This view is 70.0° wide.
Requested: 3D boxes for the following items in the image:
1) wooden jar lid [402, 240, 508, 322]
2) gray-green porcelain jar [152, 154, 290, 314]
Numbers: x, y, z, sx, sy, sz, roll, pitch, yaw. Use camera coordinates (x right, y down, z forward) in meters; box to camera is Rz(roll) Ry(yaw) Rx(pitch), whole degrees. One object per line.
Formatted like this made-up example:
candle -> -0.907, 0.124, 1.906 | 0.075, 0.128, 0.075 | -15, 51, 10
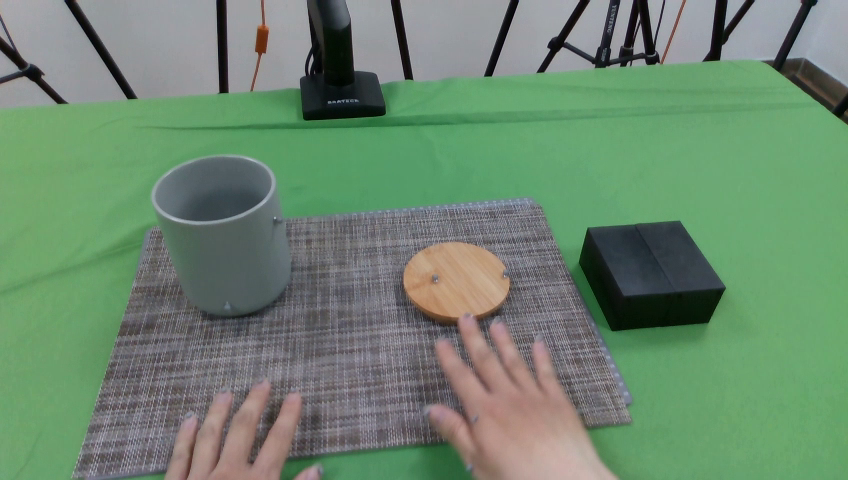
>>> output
wooden jar lid -> 0.031, 0.042, 0.616 | 0.108, 0.021, 0.107 | 2, 42, -2
gray-green porcelain jar -> -0.186, -0.001, 0.575 | 0.106, 0.127, 0.105 | 1, 42, -1
